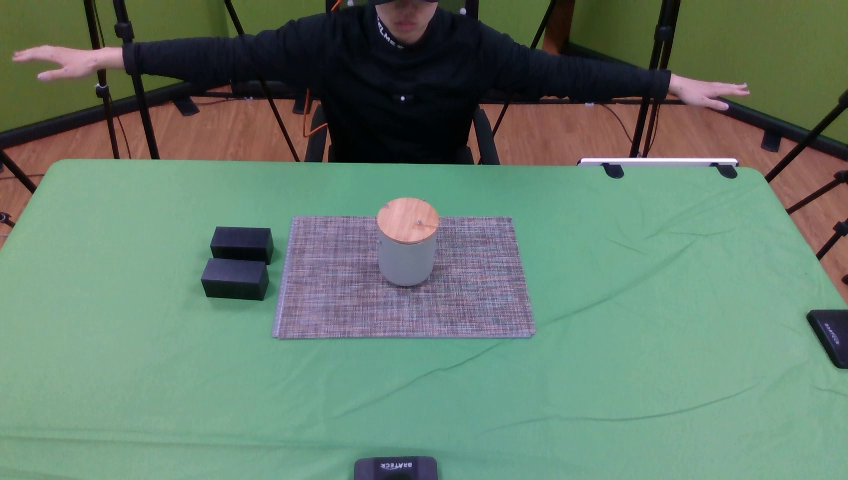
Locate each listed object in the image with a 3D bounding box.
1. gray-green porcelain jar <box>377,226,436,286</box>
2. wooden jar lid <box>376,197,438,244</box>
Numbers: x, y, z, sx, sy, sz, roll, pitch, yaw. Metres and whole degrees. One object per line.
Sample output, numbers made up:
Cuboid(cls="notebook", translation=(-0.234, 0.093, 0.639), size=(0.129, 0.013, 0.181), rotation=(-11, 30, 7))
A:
Cuboid(cls="gray-green porcelain jar", translation=(-0.033, 0.014, 1.105), size=(0.106, 0.127, 0.105), rotation=(2, 46, -2))
Cuboid(cls="wooden jar lid", translation=(-0.029, -0.031, 1.060), size=(0.108, 0.021, 0.107), rotation=(2, 47, -2))
